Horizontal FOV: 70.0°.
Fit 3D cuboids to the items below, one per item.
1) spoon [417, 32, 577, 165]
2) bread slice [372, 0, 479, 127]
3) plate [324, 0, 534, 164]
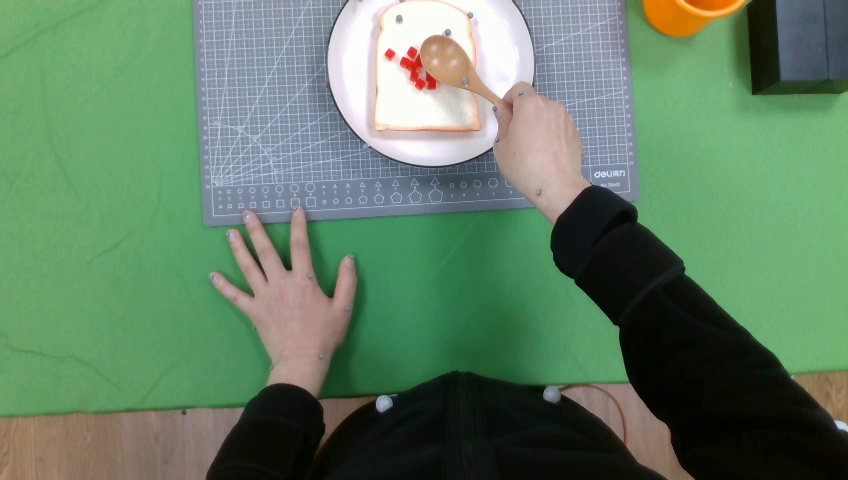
[{"bbox_3d":[0.068,-0.133,0.571,0.192,0.022,0.041,43,86,16],"label":"spoon"},{"bbox_3d":[-0.002,-0.179,0.614,0.107,0.018,0.134,-3,88,-4],"label":"bread slice"},{"bbox_3d":[0.006,-0.178,0.613,0.209,0.038,0.209,0,88,-3],"label":"plate"}]
